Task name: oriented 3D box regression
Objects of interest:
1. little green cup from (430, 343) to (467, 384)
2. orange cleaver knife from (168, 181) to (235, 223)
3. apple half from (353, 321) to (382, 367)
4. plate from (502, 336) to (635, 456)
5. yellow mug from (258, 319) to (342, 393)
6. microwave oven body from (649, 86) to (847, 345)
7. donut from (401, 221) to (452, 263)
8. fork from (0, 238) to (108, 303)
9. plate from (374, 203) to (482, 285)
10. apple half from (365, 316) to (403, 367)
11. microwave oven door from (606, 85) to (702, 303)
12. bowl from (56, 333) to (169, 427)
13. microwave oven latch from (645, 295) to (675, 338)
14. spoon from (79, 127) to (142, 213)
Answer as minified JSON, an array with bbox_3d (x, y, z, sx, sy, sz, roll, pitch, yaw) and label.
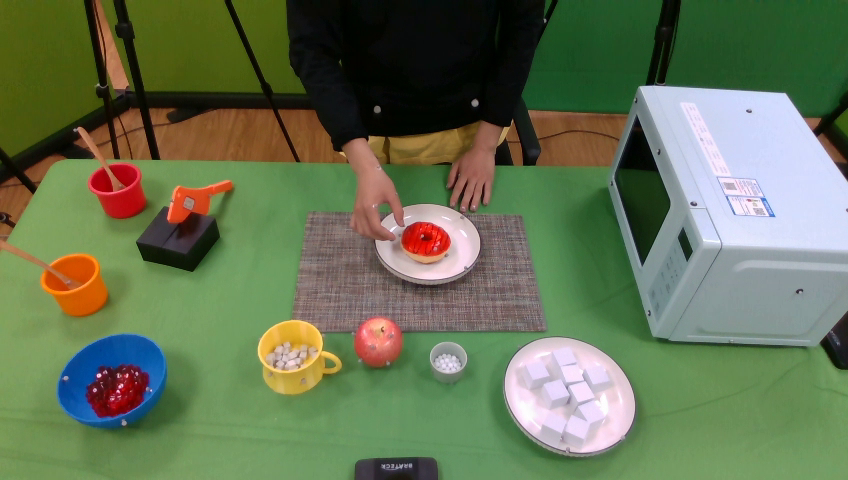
[{"bbox_3d":[0.039,0.203,0.994,0.061,0.039,0.061,2,46,-2],"label":"little green cup"},{"bbox_3d":[-0.436,-0.078,1.196,0.012,0.077,0.211,16,15,10],"label":"orange cleaver knife"},{"bbox_3d":[-0.098,0.177,0.984,0.033,0.081,0.081,-17,49,-25],"label":"apple half"},{"bbox_3d":[0.225,0.248,0.963,0.208,0.039,0.206,2,46,-2],"label":"plate"},{"bbox_3d":[-0.195,0.188,0.972,0.131,0.064,0.099,9,47,4],"label":"yellow mug"},{"bbox_3d":[0.567,-0.053,1.118,0.326,0.261,0.439,2,45,-1],"label":"microwave oven body"},{"bbox_3d":[0.005,0.003,1.164,0.099,0.048,0.098,3,44,-2],"label":"donut"},{"bbox_3d":[-0.633,0.048,1.017,0.208,0.018,0.028,40,42,-27],"label":"fork"},{"bbox_3d":[0.007,0.010,1.172,0.209,0.038,0.208,2,46,-2],"label":"plate"},{"bbox_3d":[-0.063,0.165,1.000,0.053,0.075,0.080,-16,45,-24],"label":"apple half"},{"bbox_3d":[0.422,-0.094,1.140,0.039,0.245,0.353,2,46,-1],"label":"microwave oven door"},{"bbox_3d":[-0.456,0.223,0.911,0.151,0.077,0.150,3,45,-2],"label":"bowl"},{"bbox_3d":[0.411,0.134,1.061,0.030,0.029,0.078,3,45,0],"label":"microwave oven latch"},{"bbox_3d":[-0.625,-0.139,1.203,0.041,0.021,0.194,-33,100,-26],"label":"spoon"}]
